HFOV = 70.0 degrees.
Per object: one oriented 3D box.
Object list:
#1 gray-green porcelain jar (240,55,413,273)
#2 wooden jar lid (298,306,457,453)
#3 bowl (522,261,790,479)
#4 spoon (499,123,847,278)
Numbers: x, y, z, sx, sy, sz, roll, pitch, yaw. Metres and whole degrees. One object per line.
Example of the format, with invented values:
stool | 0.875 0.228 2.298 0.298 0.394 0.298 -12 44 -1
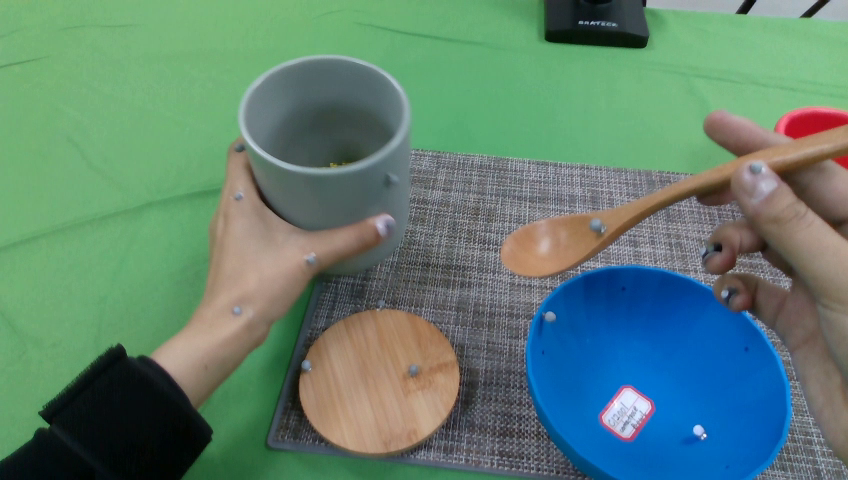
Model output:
gray-green porcelain jar | -0.062 -0.045 0.423 0.106 0.127 0.105 2 57 -3
wooden jar lid | -0.032 0.095 0.416 0.108 0.021 0.107 0 49 0
bowl | 0.132 0.095 0.380 0.151 0.077 0.150 0 50 0
spoon | 0.114 -0.019 0.267 0.022 0.193 0.041 43 46 -24
